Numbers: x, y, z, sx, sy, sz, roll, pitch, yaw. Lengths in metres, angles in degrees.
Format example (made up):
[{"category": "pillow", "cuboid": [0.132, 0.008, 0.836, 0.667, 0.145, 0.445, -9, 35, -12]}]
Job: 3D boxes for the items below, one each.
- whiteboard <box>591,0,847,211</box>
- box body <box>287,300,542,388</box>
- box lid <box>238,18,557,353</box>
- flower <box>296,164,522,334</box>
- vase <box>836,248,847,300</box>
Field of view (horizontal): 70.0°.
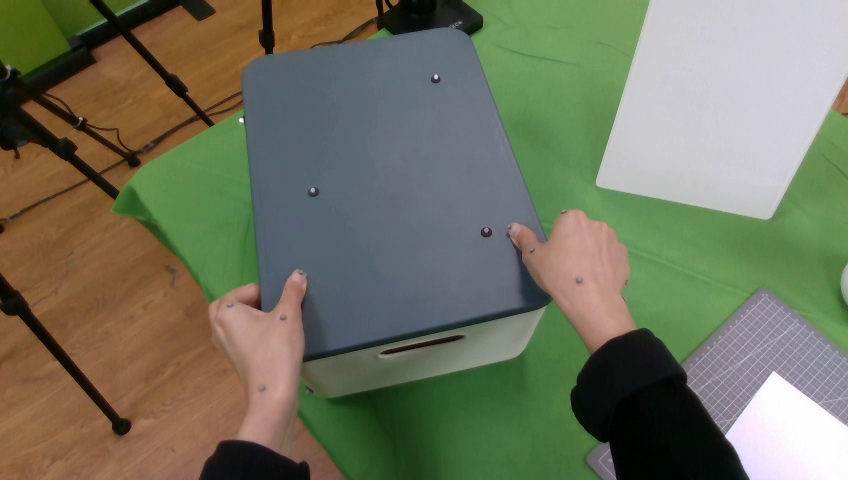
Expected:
[{"category": "whiteboard", "cuboid": [0.346, -0.215, 0.715, 0.217, 0.308, 0.143, 13, 42, 9]}, {"category": "box body", "cuboid": [-0.041, -0.042, 0.666, 0.254, 0.162, 0.360, -12, 61, -6]}, {"category": "box lid", "cuboid": [-0.043, -0.082, 0.603, 0.263, 0.015, 0.367, -11, 61, -6]}, {"category": "flower", "cuboid": [-0.035, -0.006, 0.726, 0.358, 0.038, 0.044, 35, 97, 25]}, {"category": "vase", "cuboid": [0.513, 0.004, 0.613, 0.098, 0.201, 0.097, 0, 58, 1]}]
